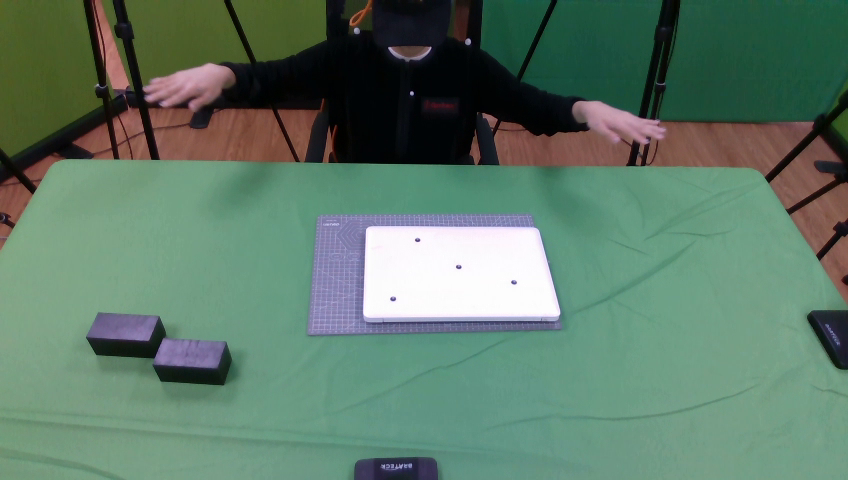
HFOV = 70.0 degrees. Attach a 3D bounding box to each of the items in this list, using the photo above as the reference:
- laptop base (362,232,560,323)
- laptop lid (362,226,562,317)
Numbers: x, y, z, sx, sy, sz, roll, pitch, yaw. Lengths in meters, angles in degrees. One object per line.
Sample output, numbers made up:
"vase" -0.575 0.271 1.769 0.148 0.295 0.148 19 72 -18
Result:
"laptop base" 0.064 0.063 1.143 0.355 0.023 0.234 0 42 -4
"laptop lid" 0.064 0.053 1.136 0.357 0.013 0.240 1 44 -3
